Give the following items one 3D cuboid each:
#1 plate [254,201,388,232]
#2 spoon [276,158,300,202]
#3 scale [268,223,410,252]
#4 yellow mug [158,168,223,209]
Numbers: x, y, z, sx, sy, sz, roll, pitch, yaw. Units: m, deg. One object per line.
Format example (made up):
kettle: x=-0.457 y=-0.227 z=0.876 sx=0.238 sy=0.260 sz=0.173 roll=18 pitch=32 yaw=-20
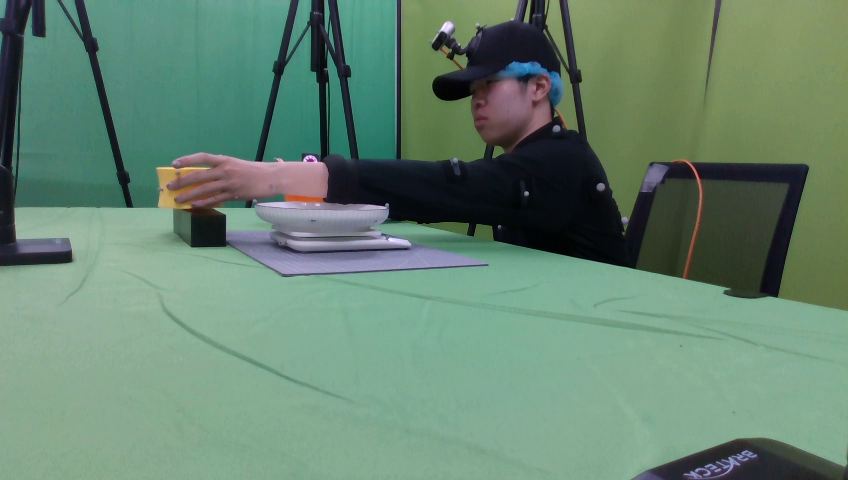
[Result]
plate: x=-0.161 y=-0.038 z=0.961 sx=0.209 sy=0.038 sz=0.209 roll=2 pitch=6 yaw=0
spoon: x=-0.273 y=-0.103 z=1.259 sx=0.042 sy=0.193 sz=0.021 roll=-5 pitch=-33 yaw=-34
scale: x=-0.137 y=-0.006 z=0.980 sx=0.202 sy=0.031 sz=0.148 roll=-1 pitch=9 yaw=-30
yellow mug: x=-0.393 y=-0.089 z=1.028 sx=0.100 sy=0.064 sz=0.130 roll=1 pitch=7 yaw=-9
